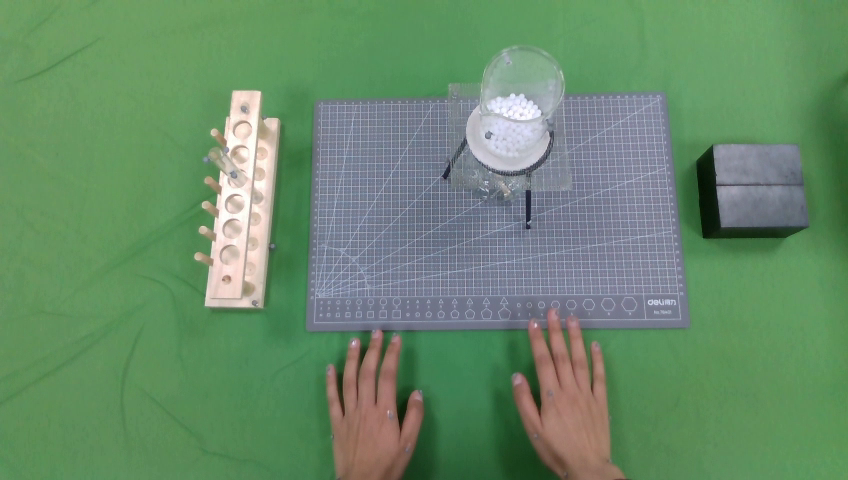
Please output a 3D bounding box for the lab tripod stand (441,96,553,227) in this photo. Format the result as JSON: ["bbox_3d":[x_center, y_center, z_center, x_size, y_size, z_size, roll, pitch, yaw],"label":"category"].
[{"bbox_3d":[0.092,-0.098,0.690,0.148,0.132,0.147,-1,75,2],"label":"lab tripod stand"}]

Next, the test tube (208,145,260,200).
[{"bbox_3d":[-0.206,-0.071,0.668,0.017,0.151,0.017,0,77,0],"label":"test tube"}]

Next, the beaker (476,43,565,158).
[{"bbox_3d":[0.085,-0.125,0.580,0.084,0.101,0.073,-34,78,-7],"label":"beaker"}]

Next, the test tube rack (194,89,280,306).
[{"bbox_3d":[-0.224,-0.048,0.714,0.067,0.085,0.241,1,77,2],"label":"test tube rack"}]

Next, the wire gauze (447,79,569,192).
[{"bbox_3d":[0.086,-0.109,0.625,0.125,0.011,0.121,1,77,-1],"label":"wire gauze"}]

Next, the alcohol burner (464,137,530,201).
[{"bbox_3d":[0.086,-0.088,0.698,0.078,0.119,0.077,0,76,0],"label":"alcohol burner"}]
